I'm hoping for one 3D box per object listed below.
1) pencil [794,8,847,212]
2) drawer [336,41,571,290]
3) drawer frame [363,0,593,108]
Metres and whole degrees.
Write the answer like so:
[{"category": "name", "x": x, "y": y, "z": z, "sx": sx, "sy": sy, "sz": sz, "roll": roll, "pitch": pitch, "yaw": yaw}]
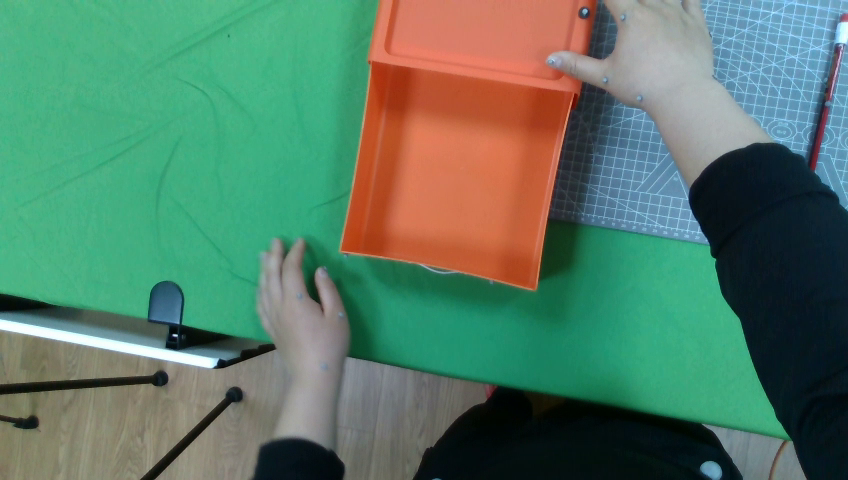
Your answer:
[{"category": "pencil", "x": 0.374, "y": -0.121, "z": 0.574, "sx": 0.012, "sy": 0.012, "sz": 0.194, "roll": 12, "pitch": 94, "yaw": 9}, {"category": "drawer", "x": 0.030, "y": -0.071, "z": 0.594, "sx": 0.194, "sy": 0.073, "sz": 0.212, "roll": 11, "pitch": 95, "yaw": 9}, {"category": "drawer frame", "x": 0.062, "y": -0.248, "z": 0.584, "sx": 0.201, "sy": 0.083, "sz": 0.213, "roll": 10, "pitch": 91, "yaw": 9}]
